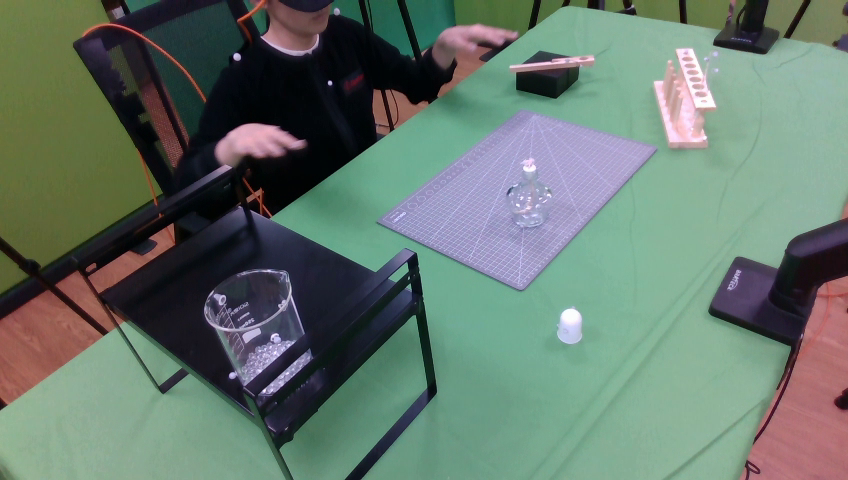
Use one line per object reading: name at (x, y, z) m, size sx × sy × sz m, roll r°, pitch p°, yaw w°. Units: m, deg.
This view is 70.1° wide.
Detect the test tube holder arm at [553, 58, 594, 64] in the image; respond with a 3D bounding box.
test tube holder arm at (0.321, -0.380, 1.299) m, size 0.088 × 0.015 × 0.010 m, roll -5°, pitch 38°, yaw 1°

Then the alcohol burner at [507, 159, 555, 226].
alcohol burner at (0.172, -0.081, 0.969) m, size 0.078 × 0.119 × 0.077 m, roll -4°, pitch 42°, yaw 4°

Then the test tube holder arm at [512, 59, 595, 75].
test tube holder arm at (0.276, -0.371, 1.294) m, size 0.179 × 0.015 × 0.013 m, roll -8°, pitch 38°, yaw -2°

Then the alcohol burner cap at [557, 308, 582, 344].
alcohol burner cap at (0.194, 0.111, 0.802) m, size 0.034 × 0.048 × 0.033 m, roll -4°, pitch 39°, yaw 3°

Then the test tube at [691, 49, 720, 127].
test tube at (0.505, -0.270, 1.087) m, size 0.017 × 0.151 × 0.017 m, roll -2°, pitch 41°, yaw 2°

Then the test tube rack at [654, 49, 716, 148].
test tube rack at (0.502, -0.281, 1.176) m, size 0.066 × 0.085 × 0.241 m, roll 2°, pitch 41°, yaw 11°

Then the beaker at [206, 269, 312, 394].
beaker at (-0.146, 0.086, 0.560) m, size 0.073 × 0.101 × 0.084 m, roll 19°, pitch 46°, yaw 27°
